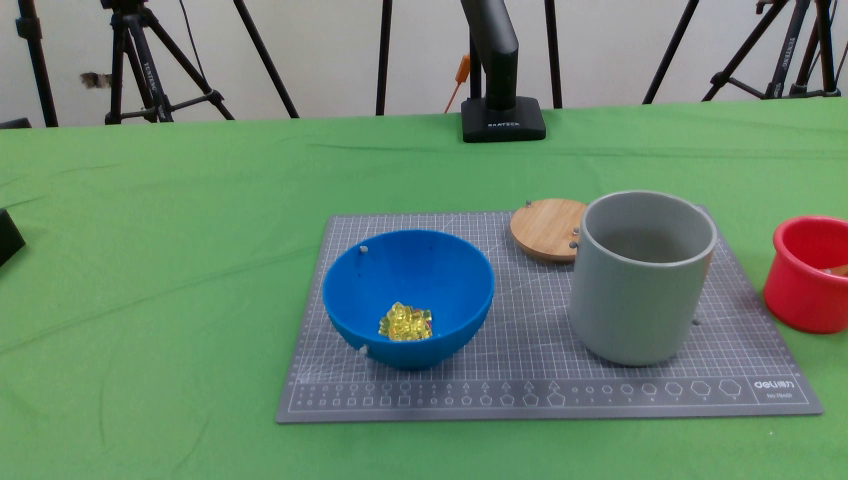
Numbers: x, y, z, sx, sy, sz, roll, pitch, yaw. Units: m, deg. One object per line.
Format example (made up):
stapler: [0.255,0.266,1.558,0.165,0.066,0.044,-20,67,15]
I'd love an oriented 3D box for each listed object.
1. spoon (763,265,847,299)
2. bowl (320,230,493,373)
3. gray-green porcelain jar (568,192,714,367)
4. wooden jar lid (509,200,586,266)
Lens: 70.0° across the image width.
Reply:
spoon: [0.395,0.021,0.525,0.022,0.193,0.041,53,51,-5]
bowl: [-0.013,0.066,0.547,0.151,0.077,0.150,-2,38,2]
gray-green porcelain jar: [0.182,0.038,0.528,0.106,0.127,0.105,-2,38,2]
wooden jar lid: [0.149,-0.007,0.678,0.108,0.021,0.107,-2,36,2]
